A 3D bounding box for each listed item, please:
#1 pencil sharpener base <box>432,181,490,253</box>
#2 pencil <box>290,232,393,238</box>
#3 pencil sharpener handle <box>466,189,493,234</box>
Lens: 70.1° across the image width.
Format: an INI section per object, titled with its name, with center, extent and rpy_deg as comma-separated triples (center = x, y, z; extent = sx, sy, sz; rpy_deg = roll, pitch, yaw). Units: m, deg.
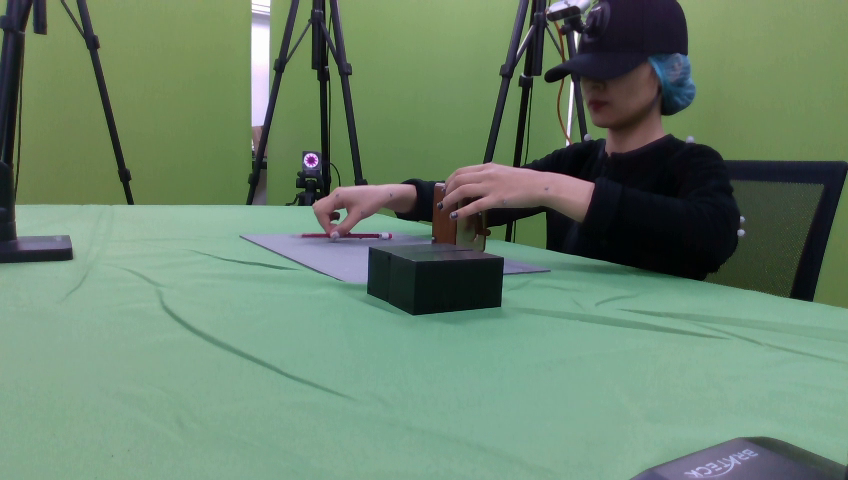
[pencil sharpener base]
center = 0.058, -0.036, 0.944
extent = 0.062, 0.107, 0.076
rpy_deg = -1, 9, -31
[pencil]
center = -0.133, -0.008, 1.007
extent = 0.195, 0.012, 0.012
rpy_deg = 0, 7, -38
[pencil sharpener handle]
center = 0.087, -0.042, 0.900
extent = 0.036, 0.068, 0.030
rpy_deg = -15, 15, -28
